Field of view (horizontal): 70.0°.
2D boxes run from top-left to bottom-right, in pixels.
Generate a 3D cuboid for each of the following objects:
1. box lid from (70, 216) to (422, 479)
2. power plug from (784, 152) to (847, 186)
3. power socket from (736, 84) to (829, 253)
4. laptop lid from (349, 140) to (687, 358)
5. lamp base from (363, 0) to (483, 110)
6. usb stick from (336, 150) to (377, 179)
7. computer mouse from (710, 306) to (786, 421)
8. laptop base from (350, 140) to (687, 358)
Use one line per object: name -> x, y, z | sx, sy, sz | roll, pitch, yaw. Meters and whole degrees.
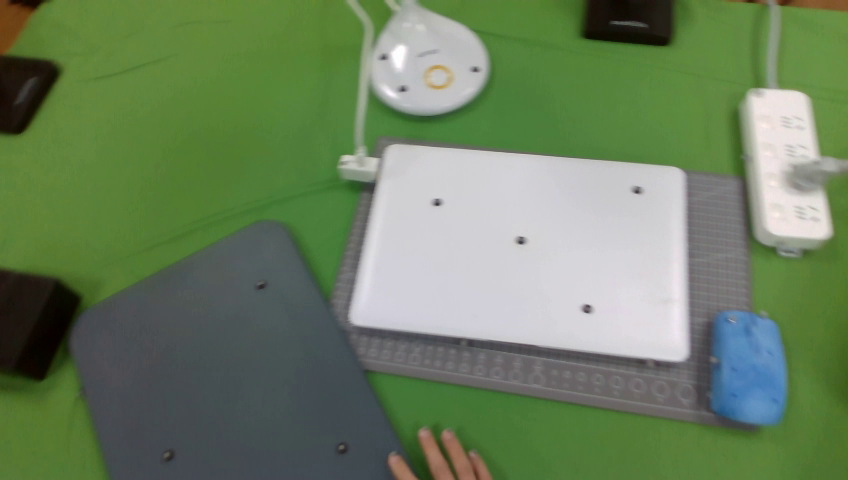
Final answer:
box lid -> -0.196, 0.160, 0.625 | 0.263, 0.015, 0.368 | -29, 66, -11
power plug -> 0.438, -0.071, 0.669 | 0.072, 0.053, 0.035 | 15, 64, 9
power socket -> 0.414, -0.092, 0.706 | 0.072, 0.033, 0.225 | 6, 63, 4
laptop lid -> 0.107, -0.001, 0.672 | 0.356, 0.013, 0.240 | 7, 66, 7
lamp base -> -0.012, -0.282, 0.744 | 0.161, 0.182, 0.177 | -28, 62, -11
usb stick -> -0.074, -0.089, 0.725 | 0.059, 0.027, 0.021 | 10, 59, 5
computer mouse -> 0.319, 0.118, 0.599 | 0.062, 0.041, 0.116 | 10, 60, 10
laptop base -> 0.108, 0.002, 0.683 | 0.354, 0.023, 0.234 | 5, 67, 6
